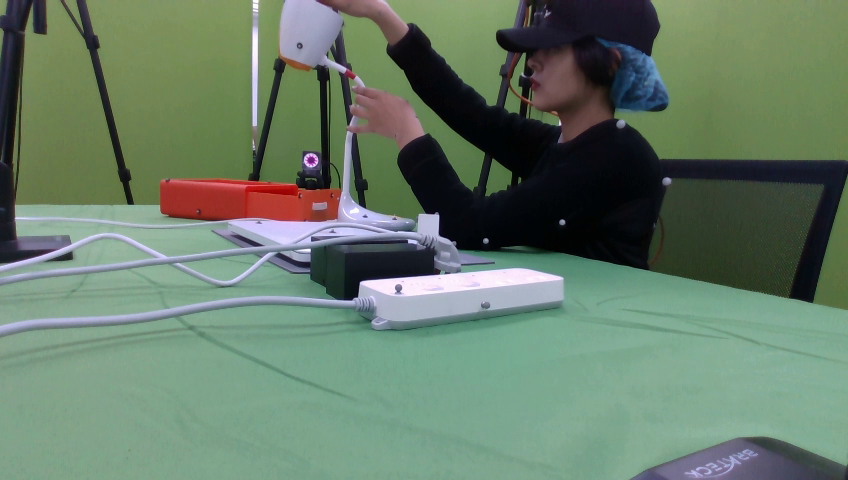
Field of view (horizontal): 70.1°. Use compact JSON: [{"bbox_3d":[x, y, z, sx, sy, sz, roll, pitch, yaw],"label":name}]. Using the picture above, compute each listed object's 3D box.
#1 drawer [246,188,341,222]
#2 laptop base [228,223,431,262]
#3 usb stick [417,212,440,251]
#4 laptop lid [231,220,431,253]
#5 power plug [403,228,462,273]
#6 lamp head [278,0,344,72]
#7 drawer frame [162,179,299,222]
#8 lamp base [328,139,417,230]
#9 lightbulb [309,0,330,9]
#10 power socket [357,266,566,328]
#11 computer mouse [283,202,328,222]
[{"bbox_3d":[-0.312,-0.078,1.296,0.211,0.073,0.195,4,8,17],"label":"drawer"},{"bbox_3d":[-0.145,0.002,0.942,0.237,0.023,0.352,2,6,-32],"label":"laptop base"},{"bbox_3d":[0.005,-0.003,0.721,0.027,0.059,0.021,0,-3,-3],"label":"usb stick"},{"bbox_3d":[-0.142,-0.009,0.942,0.243,0.013,0.355,1,7,-31],"label":"laptop lid"},{"bbox_3d":[0.006,0.016,0.647,0.073,0.052,0.035,17,12,-6],"label":"power plug"},{"bbox_3d":[-0.217,-0.376,1.126,0.112,0.123,0.112,17,9,-3],"label":"lamp head"},{"bbox_3d":[-0.418,-0.089,1.329,0.213,0.082,0.202,4,8,18],"label":"drawer frame"},{"bbox_3d":[-0.104,-0.113,1.212,0.180,0.180,0.160,-2,7,-15],"label":"lamp base"},{"bbox_3d":[-0.212,-0.403,1.112,0.059,0.107,0.059,22,-2,1],"label":"lightbulb"},{"bbox_3d":[0.042,0.049,0.573,0.228,0.032,0.072,-3,8,-34],"label":"power socket"},{"bbox_3d":[-0.251,-0.060,1.287,0.063,0.041,0.117,3,4,11],"label":"computer mouse"}]
